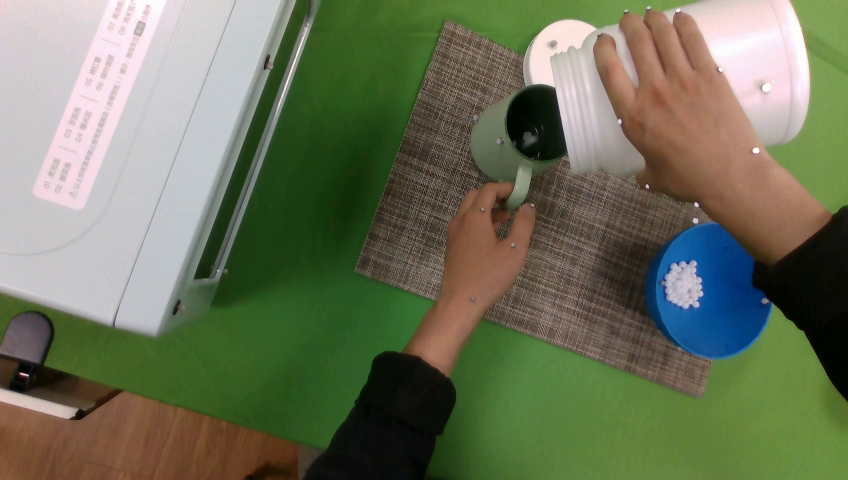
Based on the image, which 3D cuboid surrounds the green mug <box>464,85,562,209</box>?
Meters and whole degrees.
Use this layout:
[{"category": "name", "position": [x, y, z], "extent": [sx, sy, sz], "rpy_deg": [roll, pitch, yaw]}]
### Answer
[{"category": "green mug", "position": [0.095, -0.095, 0.641], "extent": [0.093, 0.104, 0.125], "rpy_deg": [12, 85, -14]}]

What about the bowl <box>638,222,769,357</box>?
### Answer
[{"category": "bowl", "position": [0.306, 0.056, 0.700], "extent": [0.152, 0.076, 0.151], "rpy_deg": [1, 87, -13]}]

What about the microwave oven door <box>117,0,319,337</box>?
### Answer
[{"category": "microwave oven door", "position": [-0.150, -0.104, 0.497], "extent": [0.039, 0.243, 0.355], "rpy_deg": [19, 83, -11]}]

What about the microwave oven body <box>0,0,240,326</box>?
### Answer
[{"category": "microwave oven body", "position": [-0.273, -0.192, 0.476], "extent": [0.327, 0.259, 0.440], "rpy_deg": [20, 84, -13]}]

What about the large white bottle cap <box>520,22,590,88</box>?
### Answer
[{"category": "large white bottle cap", "position": [0.167, -0.196, 0.706], "extent": [0.115, 0.018, 0.114], "rpy_deg": [2, 83, -15]}]

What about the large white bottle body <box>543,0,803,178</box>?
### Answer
[{"category": "large white bottle body", "position": [0.204, -0.128, 0.524], "extent": [0.184, 0.131, 0.130], "rpy_deg": [-11, 90, 14]}]
